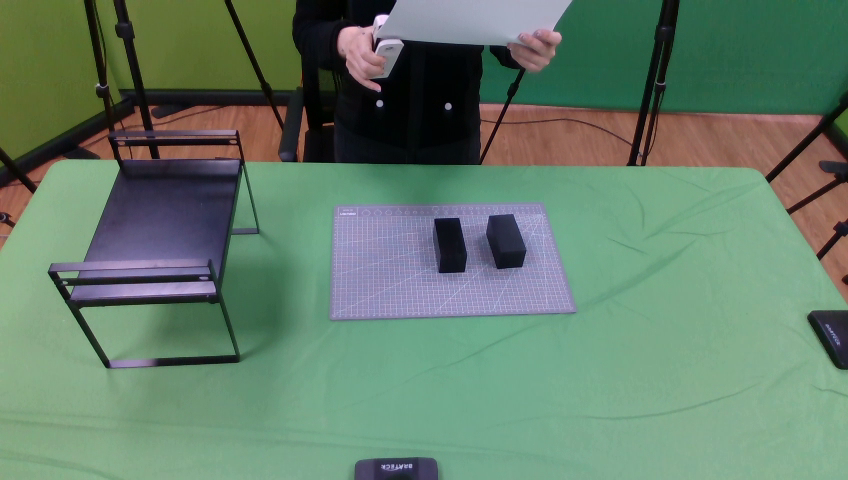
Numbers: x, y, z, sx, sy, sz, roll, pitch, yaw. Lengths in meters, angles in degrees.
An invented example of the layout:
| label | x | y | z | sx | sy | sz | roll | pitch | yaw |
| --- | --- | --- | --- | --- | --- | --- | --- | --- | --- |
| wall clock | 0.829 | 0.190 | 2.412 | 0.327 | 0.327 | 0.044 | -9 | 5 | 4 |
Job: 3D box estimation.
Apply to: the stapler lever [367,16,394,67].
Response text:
| label | x | y | z | sx | sy | sz | roll | pitch | yaw |
| --- | --- | --- | --- | --- | --- | --- | --- | --- | --- |
| stapler lever | -0.075 | -0.331 | 1.014 | 0.027 | 0.118 | 0.040 | -8 | 81 | -17 |

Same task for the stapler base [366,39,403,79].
| label | x | y | z | sx | sy | sz | roll | pitch | yaw |
| --- | --- | --- | --- | --- | --- | --- | --- | --- | --- |
| stapler base | -0.068 | -0.306 | 1.010 | 0.041 | 0.130 | 0.024 | -8 | 81 | -17 |
